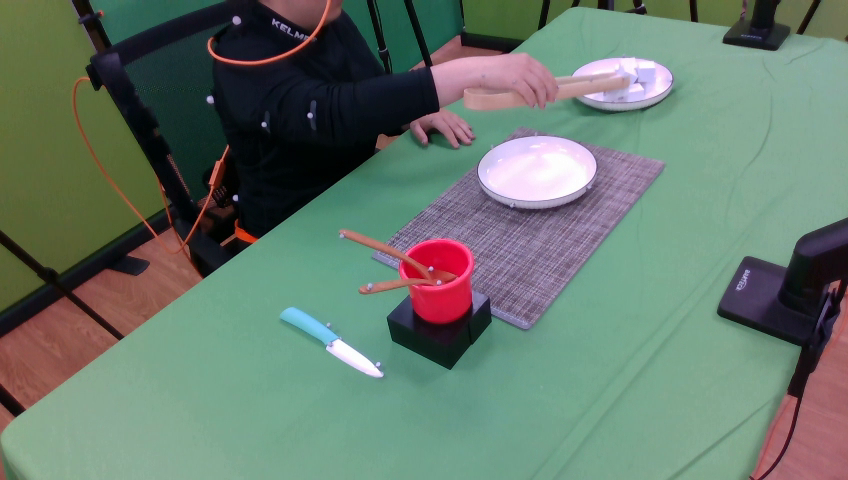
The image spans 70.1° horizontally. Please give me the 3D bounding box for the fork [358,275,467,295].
[{"bbox_3d":[-0.009,0.056,0.739,0.028,0.018,0.209,48,23,26],"label":"fork"}]

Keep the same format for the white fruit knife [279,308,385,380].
[{"bbox_3d":[-0.130,0.143,0.845,0.205,0.016,0.027,25,79,32],"label":"white fruit knife"}]

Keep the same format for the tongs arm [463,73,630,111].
[{"bbox_3d":[0.233,-0.272,1.091,0.387,0.026,0.050,-18,35,-33],"label":"tongs arm"}]

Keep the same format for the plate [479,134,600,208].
[{"bbox_3d":[0.202,-0.117,1.065,0.207,0.039,0.206,-5,40,5],"label":"plate"}]

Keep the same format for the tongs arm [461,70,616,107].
[{"bbox_3d":[0.220,-0.281,1.108,0.390,0.028,0.028,-15,37,-30],"label":"tongs arm"}]

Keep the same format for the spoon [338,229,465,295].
[{"bbox_3d":[-0.025,0.026,0.776,0.021,0.195,0.041,-41,34,32],"label":"spoon"}]

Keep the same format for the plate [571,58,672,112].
[{"bbox_3d":[0.411,-0.323,1.274,0.209,0.038,0.208,-5,41,5],"label":"plate"}]
